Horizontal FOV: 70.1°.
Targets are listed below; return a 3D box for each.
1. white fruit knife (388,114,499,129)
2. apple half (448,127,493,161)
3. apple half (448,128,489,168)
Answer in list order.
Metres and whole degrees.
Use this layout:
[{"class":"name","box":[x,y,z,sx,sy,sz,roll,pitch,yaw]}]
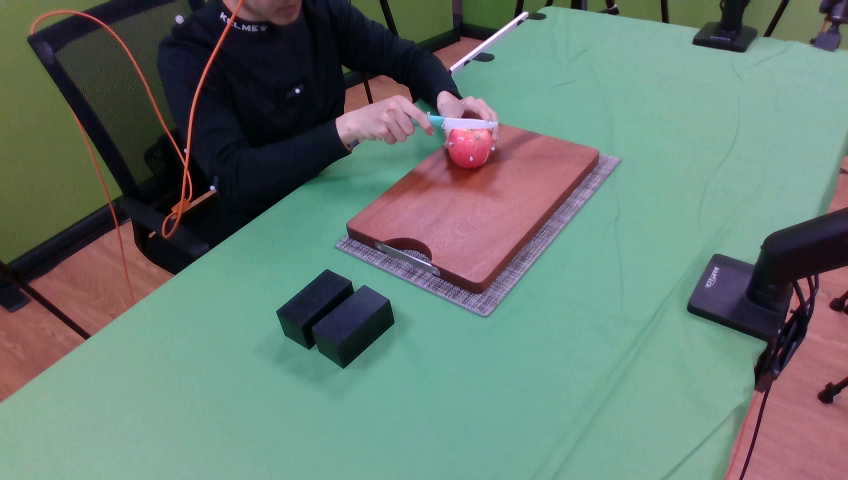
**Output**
[{"class":"white fruit knife","box":[0.030,-0.205,1.046,0.206,0.027,0.016,6,49,20]},{"class":"apple half","box":[0.089,-0.177,1.078,0.080,0.075,0.053,12,41,24]},{"class":"apple half","box":[0.072,-0.153,1.051,0.081,0.081,0.033,12,41,22]}]
